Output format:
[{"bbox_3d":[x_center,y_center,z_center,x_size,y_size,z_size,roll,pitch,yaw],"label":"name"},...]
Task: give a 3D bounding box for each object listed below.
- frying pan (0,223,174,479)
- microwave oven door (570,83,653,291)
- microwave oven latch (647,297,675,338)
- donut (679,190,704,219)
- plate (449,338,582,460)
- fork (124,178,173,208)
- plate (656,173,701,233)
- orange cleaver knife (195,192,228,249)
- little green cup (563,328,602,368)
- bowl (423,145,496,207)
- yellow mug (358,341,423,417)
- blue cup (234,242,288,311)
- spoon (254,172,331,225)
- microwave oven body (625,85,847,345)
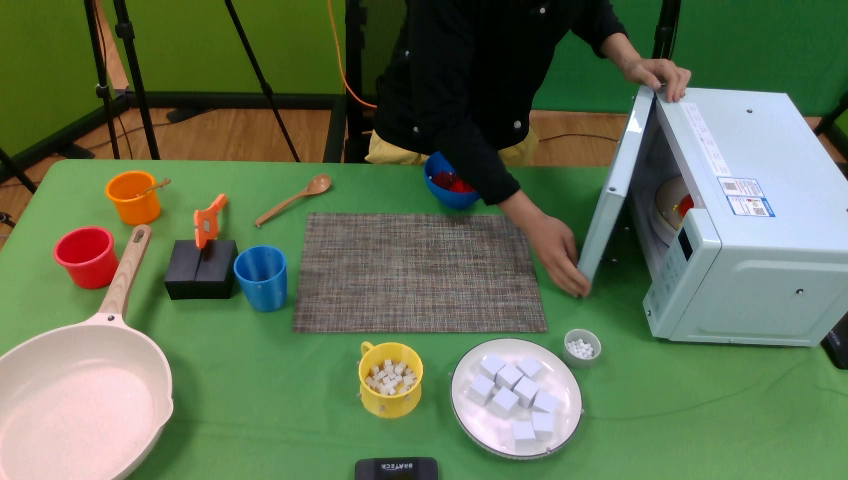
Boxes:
[{"bbox_3d":[-0.505,0.169,0.941,0.307,0.103,0.485,5,54,-1],"label":"frying pan"},{"bbox_3d":[0.360,-0.108,1.146,0.039,0.245,0.354,19,48,14],"label":"microwave oven door"},{"bbox_3d":[0.413,0.133,1.060,0.030,0.029,0.078,5,46,2],"label":"microwave oven latch"},{"bbox_3d":[0.546,-0.059,1.176,0.099,0.048,0.098,-1,46,1],"label":"donut"},{"bbox_3d":[0.141,0.251,0.956,0.208,0.039,0.206,2,46,-2],"label":"plate"},{"bbox_3d":[-0.525,-0.090,1.154,0.207,0.019,0.028,-17,27,45],"label":"fork"},{"bbox_3d":[0.557,-0.054,1.184,0.209,0.038,0.208,0,44,0],"label":"plate"},{"bbox_3d":[-0.406,-0.042,1.163,0.012,0.077,0.210,-1,18,-3],"label":"orange cleaver knife"},{"bbox_3d":[0.266,0.185,1.025,0.061,0.039,0.061,3,44,-2],"label":"little green cup"},{"bbox_3d":[0.073,-0.123,1.278,0.151,0.077,0.150,3,46,-2],"label":"bowl"},{"bbox_3d":[-0.062,0.209,0.961,0.100,0.064,0.130,-29,54,-27],"label":"yellow mug"},{"bbox_3d":[-0.276,0.071,1.052,0.093,0.101,0.092,2,48,-2],"label":"blue cup"},{"bbox_3d":[-0.272,-0.087,1.257,0.041,0.022,0.193,46,57,12],"label":"spoon"},{"bbox_3d":[0.568,-0.054,1.116,0.326,0.261,0.439,2,46,-1],"label":"microwave oven body"}]
